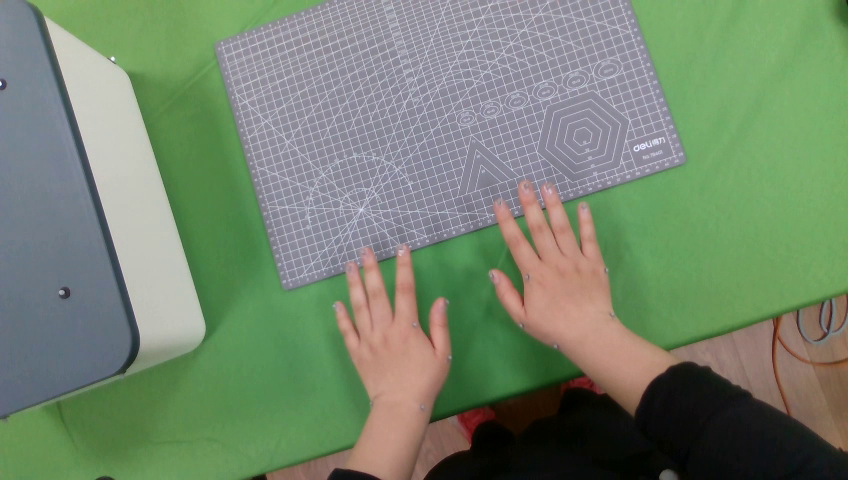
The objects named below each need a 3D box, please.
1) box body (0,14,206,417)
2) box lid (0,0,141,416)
[{"bbox_3d":[-0.413,-0.013,0.630,0.254,0.161,0.363,-21,84,6],"label":"box body"},{"bbox_3d":[-0.424,-0.022,0.557,0.263,0.015,0.370,-21,85,6],"label":"box lid"}]
